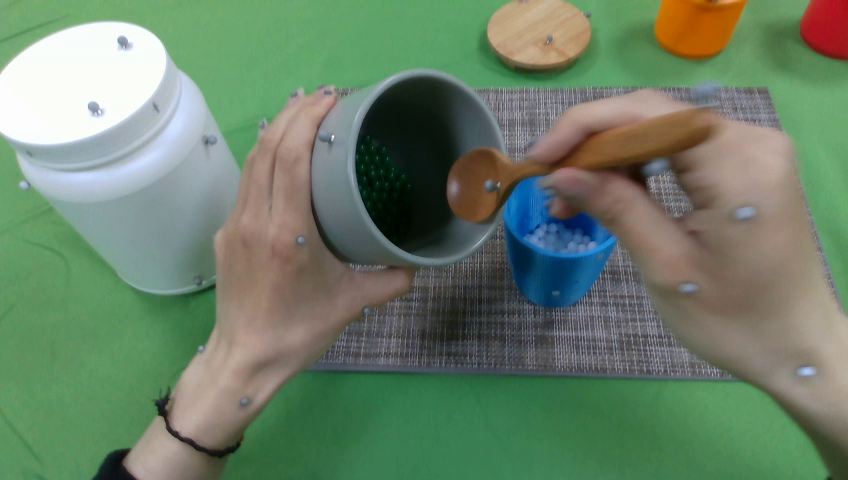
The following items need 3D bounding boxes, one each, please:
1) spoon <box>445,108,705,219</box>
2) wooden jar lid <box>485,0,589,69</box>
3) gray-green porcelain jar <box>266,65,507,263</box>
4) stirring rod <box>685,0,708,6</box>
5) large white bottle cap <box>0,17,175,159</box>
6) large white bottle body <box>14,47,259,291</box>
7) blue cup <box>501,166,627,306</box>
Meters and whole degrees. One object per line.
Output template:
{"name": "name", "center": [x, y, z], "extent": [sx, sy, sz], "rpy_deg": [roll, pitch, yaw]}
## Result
{"name": "spoon", "center": [0.048, -0.032, 0.266], "extent": [0.022, 0.193, 0.041], "rpy_deg": [3, 90, -15]}
{"name": "wooden jar lid", "center": [0.119, -0.221, 0.643], "extent": [0.108, 0.021, 0.107], "rpy_deg": [-1, 57, 3]}
{"name": "gray-green porcelain jar", "center": [-0.030, -0.039, 0.368], "extent": [0.126, 0.107, 0.105], "rpy_deg": [0, 45, 55]}
{"name": "stirring rod", "center": [0.267, -0.233, 0.572], "extent": [0.014, 0.006, 0.176], "rpy_deg": [7, 16, 13]}
{"name": "large white bottle cap", "center": [-0.222, -0.101, 0.393], "extent": [0.115, 0.018, 0.114], "rpy_deg": [-2, 58, 3]}
{"name": "large white bottle body", "center": [-0.216, -0.056, 0.465], "extent": [0.130, 0.186, 0.129], "rpy_deg": [-2, 58, 3]}
{"name": "blue cup", "center": [0.099, 0.001, 0.453], "extent": [0.092, 0.101, 0.092], "rpy_deg": [-3, 57, 4]}
